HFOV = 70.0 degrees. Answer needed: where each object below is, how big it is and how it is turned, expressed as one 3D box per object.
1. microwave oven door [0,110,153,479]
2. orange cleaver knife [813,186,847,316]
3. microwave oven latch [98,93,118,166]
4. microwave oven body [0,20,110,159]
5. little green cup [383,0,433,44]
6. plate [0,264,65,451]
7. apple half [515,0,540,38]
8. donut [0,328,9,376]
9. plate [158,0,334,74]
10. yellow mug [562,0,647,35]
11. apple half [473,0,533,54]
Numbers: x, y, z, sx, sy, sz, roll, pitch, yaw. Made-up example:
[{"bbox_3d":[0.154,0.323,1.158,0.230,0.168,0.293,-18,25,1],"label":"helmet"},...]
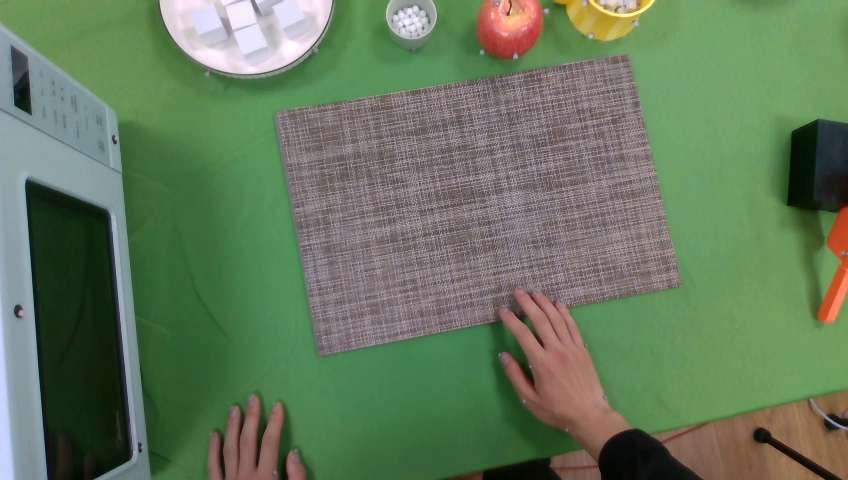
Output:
[{"bbox_3d":[-0.337,0.080,0.572,0.039,0.244,0.355,-8,84,-4],"label":"microwave oven door"},{"bbox_3d":[0.507,-0.010,0.724,0.012,0.076,0.212,9,116,0],"label":"orange cleaver knife"},{"bbox_3d":[-0.370,-0.125,0.692,0.030,0.029,0.079,-6,85,-4],"label":"microwave oven latch"},{"bbox_3d":[-0.487,0.059,0.571,0.326,0.260,0.440,-8,85,-4],"label":"microwave oven body"},{"bbox_3d":[-0.019,-0.274,0.746,0.061,0.038,0.061,0,84,-3],"label":"little green cup"},{"bbox_3d":[-0.471,0.121,0.617,0.209,0.038,0.208,0,85,-4],"label":"plate"},{"bbox_3d":[0.119,-0.284,0.737,0.033,0.081,0.081,-38,87,-2],"label":"apple half"},{"bbox_3d":[-0.468,0.116,0.604,0.099,0.048,0.099,0,86,-2],"label":"donut"},{"bbox_3d":[-0.212,-0.298,0.738,0.208,0.039,0.207,0,84,-3],"label":"plate"},{"bbox_3d":[0.212,-0.315,0.750,0.131,0.064,0.099,0,84,-2],"label":"yellow mug"},{"bbox_3d":[0.088,-0.260,0.734,0.053,0.074,0.081,-37,91,-2],"label":"apple half"}]
